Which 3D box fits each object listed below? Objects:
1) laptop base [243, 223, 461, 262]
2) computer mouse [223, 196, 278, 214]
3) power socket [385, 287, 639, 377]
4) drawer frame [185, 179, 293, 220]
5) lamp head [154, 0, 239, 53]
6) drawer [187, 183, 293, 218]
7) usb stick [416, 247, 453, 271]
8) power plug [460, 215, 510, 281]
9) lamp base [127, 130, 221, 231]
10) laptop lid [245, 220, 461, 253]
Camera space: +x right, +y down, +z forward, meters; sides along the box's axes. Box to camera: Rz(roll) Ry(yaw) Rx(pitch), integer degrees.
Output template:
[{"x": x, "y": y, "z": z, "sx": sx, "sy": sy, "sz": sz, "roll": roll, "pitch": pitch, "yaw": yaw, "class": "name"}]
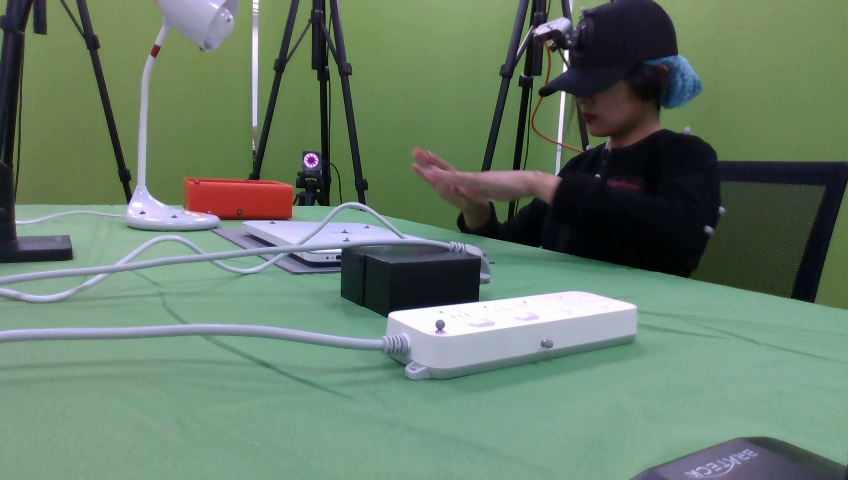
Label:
[{"x": -0.126, "y": 0.003, "z": 0.945, "sx": 0.237, "sy": 0.023, "sz": 0.352, "roll": 2, "pitch": 6, "yaw": -31, "class": "laptop base"}, {"x": -0.392, "y": -0.078, "z": 1.368, "sx": 0.118, "sy": 0.041, "sz": 0.062, "roll": -3, "pitch": 6, "yaw": -24, "class": "computer mouse"}, {"x": 0.074, "y": 0.064, "z": 0.462, "sx": 0.228, "sy": 0.032, "sz": 0.072, "roll": -3, "pitch": 8, "yaw": -34, "class": "power socket"}, {"x": -0.420, "y": -0.094, "z": 1.369, "sx": 0.214, "sy": 0.082, "sz": 0.200, "roll": -2, "pitch": 9, "yaw": -25, "class": "drawer frame"}, {"x": -0.406, "y": -0.402, "z": 1.059, "sx": 0.123, "sy": 0.112, "sz": 0.112, "roll": 25, "pitch": 5, "yaw": -6, "class": "lamp head"}, {"x": -0.418, "y": -0.093, "z": 1.371, "sx": 0.213, "sy": 0.073, "sz": 0.193, "roll": -2, "pitch": 9, "yaw": -24, "class": "drawer"}, {"x": 0.009, "y": 0.024, "z": 0.755, "sx": 0.027, "sy": 0.021, "sz": 0.059, "roll": 37, "pitch": -17, "yaw": -17, "class": "usb stick"}, {"x": 0.064, "y": 0.011, "z": 0.624, "sx": 0.053, "sy": 0.072, "sz": 0.035, "roll": -4, "pitch": 39, "yaw": -2, "class": "power plug"}, {"x": -0.469, "y": -0.112, "z": 1.108, "sx": 0.179, "sy": 0.180, "sz": 0.160, "roll": 0, "pitch": 7, "yaw": 3, "class": "lamp base"}, {"x": -0.124, "y": -0.009, "z": 0.945, "sx": 0.243, "sy": 0.013, "sz": 0.355, "roll": 1, "pitch": 7, "yaw": -29, "class": "laptop lid"}]
